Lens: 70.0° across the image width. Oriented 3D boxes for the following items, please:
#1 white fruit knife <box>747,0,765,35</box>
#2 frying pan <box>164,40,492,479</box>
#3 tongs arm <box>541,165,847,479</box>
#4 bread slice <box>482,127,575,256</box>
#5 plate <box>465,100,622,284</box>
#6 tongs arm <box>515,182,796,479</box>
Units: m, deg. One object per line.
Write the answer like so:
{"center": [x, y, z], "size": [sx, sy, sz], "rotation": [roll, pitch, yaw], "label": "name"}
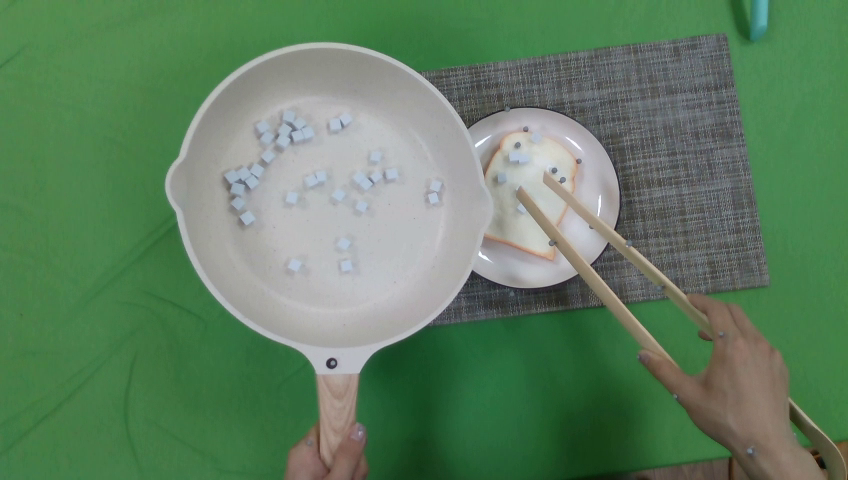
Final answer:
{"center": [0.377, -0.344, 0.692], "size": [0.016, 0.027, 0.208], "rotation": [-6, 99, -1], "label": "white fruit knife"}
{"center": [-0.085, 0.060, 0.575], "size": [0.308, 0.102, 0.485], "rotation": [3, 78, -18], "label": "frying pan"}
{"center": [0.234, 0.068, 0.577], "size": [0.051, 0.027, 0.382], "rotation": [-38, 69, -15], "label": "tongs arm"}
{"center": [0.111, -0.060, 0.691], "size": [0.107, 0.018, 0.134], "rotation": [16, 87, 2], "label": "bread slice"}
{"center": [0.115, -0.053, 0.688], "size": [0.207, 0.039, 0.207], "rotation": [0, 85, 1], "label": "plate"}
{"center": [0.214, 0.081, 0.572], "size": [0.028, 0.028, 0.384], "rotation": [-33, 68, -17], "label": "tongs arm"}
